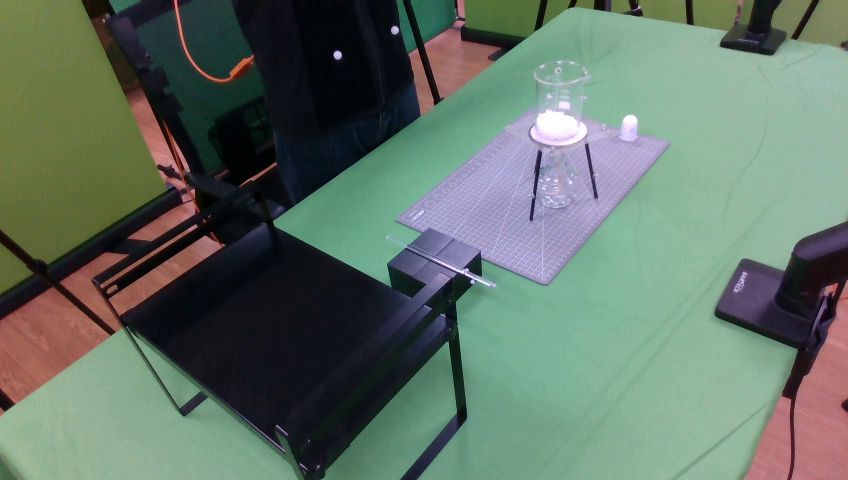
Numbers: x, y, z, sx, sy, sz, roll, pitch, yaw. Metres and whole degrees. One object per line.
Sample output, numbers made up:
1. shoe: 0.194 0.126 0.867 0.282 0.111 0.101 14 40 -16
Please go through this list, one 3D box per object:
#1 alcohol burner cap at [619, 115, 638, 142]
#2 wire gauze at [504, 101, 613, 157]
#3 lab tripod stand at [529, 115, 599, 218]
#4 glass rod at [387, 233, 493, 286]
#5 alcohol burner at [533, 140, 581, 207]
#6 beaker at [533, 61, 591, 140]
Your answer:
1. alcohol burner cap: 0.389 -0.214 1.145 0.034 0.048 0.033 -3 40 3
2. wire gauze: 0.211 -0.175 0.956 0.125 0.011 0.120 -26 43 -17
3. lab tripod stand: 0.217 -0.123 0.995 0.148 0.132 0.147 -4 43 4
4. glass rod: 0.018 0.026 0.878 0.198 0.008 0.008 25 50 33
5. alcohol burner: 0.220 -0.114 0.999 0.078 0.119 0.077 -5 42 5
6. beaker: 0.208 -0.210 0.922 0.083 0.101 0.074 5 44 14
